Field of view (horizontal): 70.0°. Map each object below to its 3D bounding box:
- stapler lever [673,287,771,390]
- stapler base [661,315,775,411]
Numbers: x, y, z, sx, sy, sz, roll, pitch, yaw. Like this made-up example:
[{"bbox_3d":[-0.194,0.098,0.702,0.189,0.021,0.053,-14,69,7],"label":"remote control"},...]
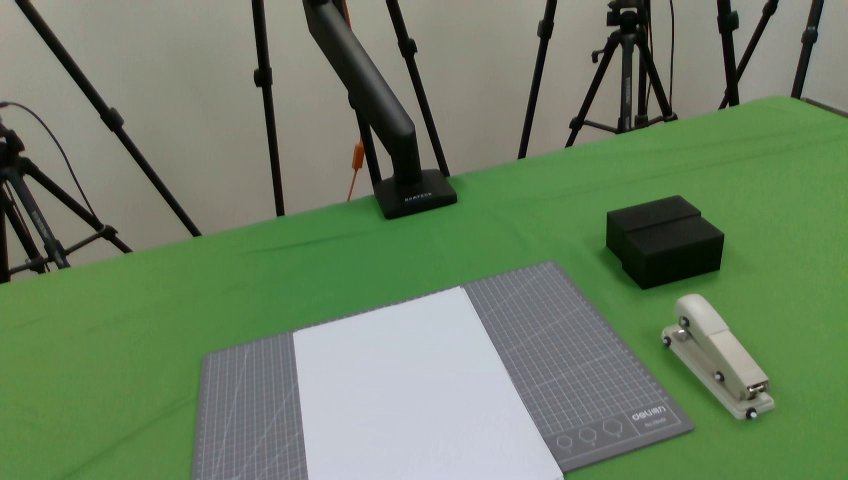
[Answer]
[{"bbox_3d":[0.281,0.089,0.578,0.027,0.040,0.117,-16,35,-8],"label":"stapler lever"},{"bbox_3d":[0.283,0.109,0.593,0.041,0.024,0.129,-16,34,-8],"label":"stapler base"}]
